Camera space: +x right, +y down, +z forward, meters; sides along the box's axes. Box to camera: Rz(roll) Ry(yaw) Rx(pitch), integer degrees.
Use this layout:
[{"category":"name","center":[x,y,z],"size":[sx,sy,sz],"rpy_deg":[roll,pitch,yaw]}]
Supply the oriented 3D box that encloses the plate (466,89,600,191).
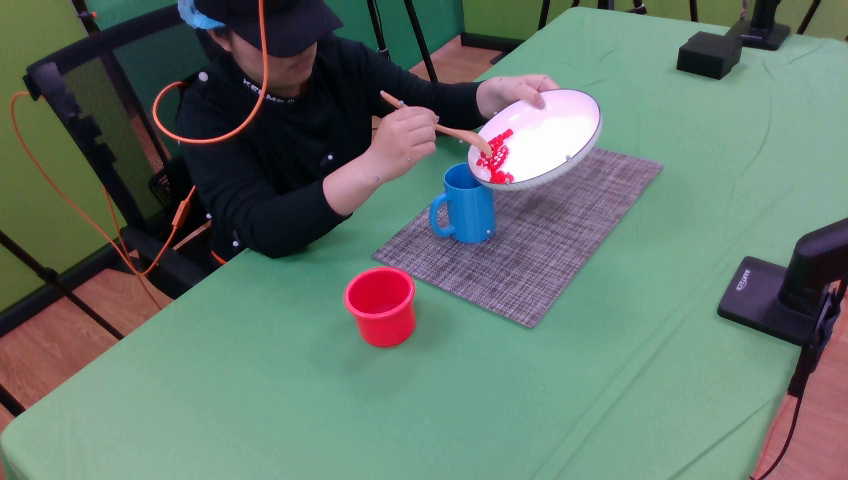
[{"category":"plate","center":[0.165,-0.145,0.910],"size":[0.207,0.039,0.206],"rpy_deg":[-20,40,19]}]

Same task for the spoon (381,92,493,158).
[{"category":"spoon","center":[0.023,-0.167,0.882],"size":[0.195,0.021,0.041],"rpy_deg":[20,35,-20]}]

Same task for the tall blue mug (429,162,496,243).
[{"category":"tall blue mug","center":[0.067,-0.051,0.960],"size":[0.077,0.108,0.107],"rpy_deg":[18,47,27]}]
